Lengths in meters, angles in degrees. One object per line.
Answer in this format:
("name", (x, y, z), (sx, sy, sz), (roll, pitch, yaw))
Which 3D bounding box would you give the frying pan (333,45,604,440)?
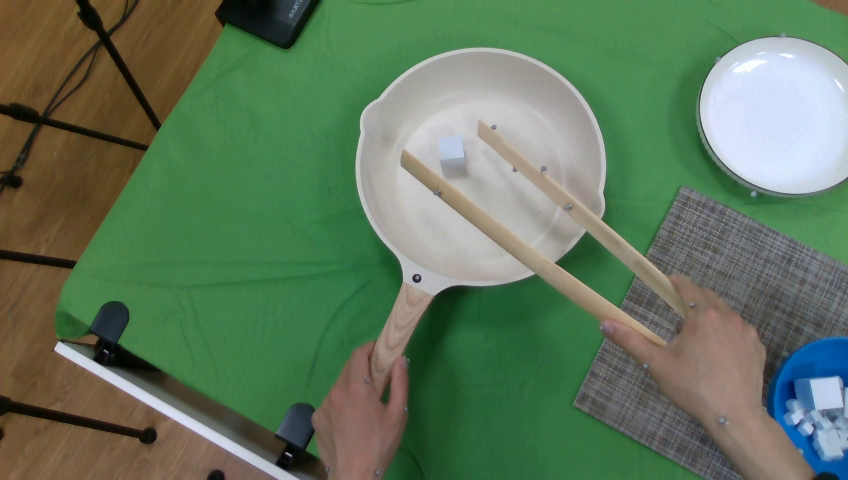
("frying pan", (0.018, -0.001, 0.702), (0.306, 0.103, 0.486), (25, 73, 9))

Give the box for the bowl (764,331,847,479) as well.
("bowl", (0.432, 0.175, 0.651), (0.151, 0.077, 0.150), (-1, 79, 3))

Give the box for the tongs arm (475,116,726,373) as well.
("tongs arm", (0.158, -0.017, 0.634), (0.051, 0.027, 0.381), (-24, 54, -29))

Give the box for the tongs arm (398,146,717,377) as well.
("tongs arm", (0.107, 0.009, 0.604), (0.028, 0.028, 0.384), (-30, 56, -36))

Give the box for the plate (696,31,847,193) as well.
("plate", (0.437, -0.154, 0.745), (0.207, 0.039, 0.206), (-1, 78, 3))
